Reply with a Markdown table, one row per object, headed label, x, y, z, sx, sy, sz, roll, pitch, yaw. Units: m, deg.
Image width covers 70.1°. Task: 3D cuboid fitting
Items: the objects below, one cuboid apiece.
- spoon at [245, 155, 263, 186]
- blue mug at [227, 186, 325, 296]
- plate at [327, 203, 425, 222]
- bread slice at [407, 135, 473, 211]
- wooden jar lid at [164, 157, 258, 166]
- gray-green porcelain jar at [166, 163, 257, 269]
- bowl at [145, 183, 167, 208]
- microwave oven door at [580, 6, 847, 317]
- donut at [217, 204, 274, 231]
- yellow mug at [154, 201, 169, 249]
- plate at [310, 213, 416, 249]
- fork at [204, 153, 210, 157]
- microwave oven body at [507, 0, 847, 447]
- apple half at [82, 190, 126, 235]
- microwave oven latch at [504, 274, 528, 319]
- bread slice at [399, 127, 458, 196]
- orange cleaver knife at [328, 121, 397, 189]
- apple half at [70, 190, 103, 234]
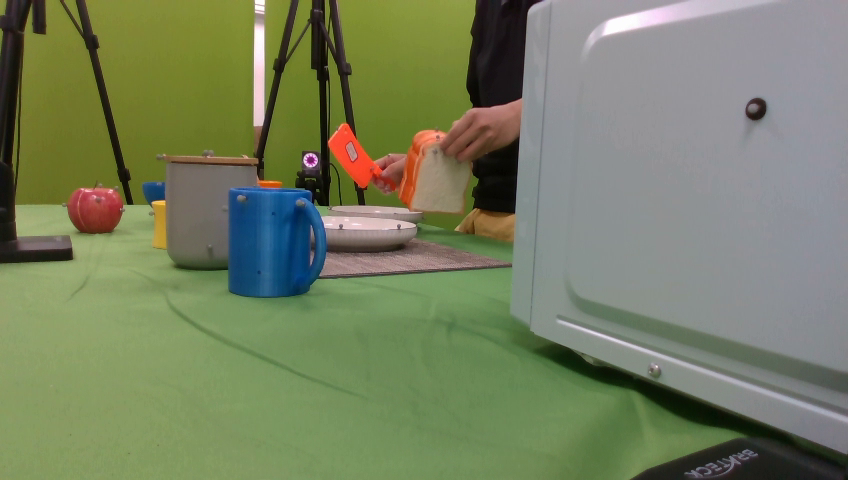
| label | x | y | z | sx | sy | sz | roll | pitch | yaw |
| --- | --- | --- | --- | --- | --- | --- | --- | --- | --- |
| spoon | -0.421 | -0.150 | 1.540 | 0.042 | 0.021 | 0.193 | -5 | 55 | -37 |
| blue mug | -0.146 | 0.000 | 0.618 | 0.116 | 0.106 | 0.083 | 7 | 9 | 32 |
| plate | -0.102 | -0.053 | 1.299 | 0.209 | 0.038 | 0.209 | 2 | 8 | 0 |
| bread slice | 0.029 | -0.115 | 1.045 | 0.107 | 0.134 | 0.018 | -1 | 25 | -22 |
| wooden jar lid | -0.261 | -0.093 | 0.746 | 0.108 | 0.020 | 0.108 | 1 | 9 | 0 |
| gray-green porcelain jar | -0.263 | -0.031 | 0.754 | 0.106 | 0.126 | 0.106 | 2 | 7 | 0 |
| bowl | -0.459 | -0.068 | 1.175 | 0.151 | 0.077 | 0.151 | 2 | 7 | 0 |
| microwave oven door | 0.294 | -0.067 | 0.570 | 0.358 | 0.243 | 0.039 | -3 | 9 | -31 |
| donut | -0.317 | -0.038 | 1.081 | 0.099 | 0.048 | 0.099 | 3 | 7 | 0 |
| yellow mug | -0.337 | -0.022 | 0.899 | 0.130 | 0.064 | 0.100 | 8 | 9 | 34 |
| plate | -0.116 | -0.014 | 0.967 | 0.208 | 0.039 | 0.207 | 2 | 7 | 0 |
| fork | -0.480 | -0.135 | 1.411 | 0.028 | 0.018 | 0.207 | 0 | -34 | -1 |
| microwave oven body | 0.331 | -0.042 | 0.425 | 0.444 | 0.260 | 0.324 | -2 | 8 | -31 |
| apple half | -0.516 | -0.046 | 0.994 | 0.032 | 0.081 | 0.081 | 0 | 6 | 26 |
| microwave oven latch | 0.100 | 0.041 | 0.471 | 0.079 | 0.029 | 0.030 | -1 | 7 | -27 |
| bread slice | 0.015 | -0.137 | 1.088 | 0.105 | 0.131 | 0.019 | 5 | 19 | -23 |
| orange cleaver knife | -0.115 | -0.144 | 1.161 | 0.012 | 0.077 | 0.212 | 1 | -28 | 32 |
| apple half | -0.552 | -0.047 | 1.009 | 0.053 | 0.074 | 0.081 | -1 | 9 | 26 |
